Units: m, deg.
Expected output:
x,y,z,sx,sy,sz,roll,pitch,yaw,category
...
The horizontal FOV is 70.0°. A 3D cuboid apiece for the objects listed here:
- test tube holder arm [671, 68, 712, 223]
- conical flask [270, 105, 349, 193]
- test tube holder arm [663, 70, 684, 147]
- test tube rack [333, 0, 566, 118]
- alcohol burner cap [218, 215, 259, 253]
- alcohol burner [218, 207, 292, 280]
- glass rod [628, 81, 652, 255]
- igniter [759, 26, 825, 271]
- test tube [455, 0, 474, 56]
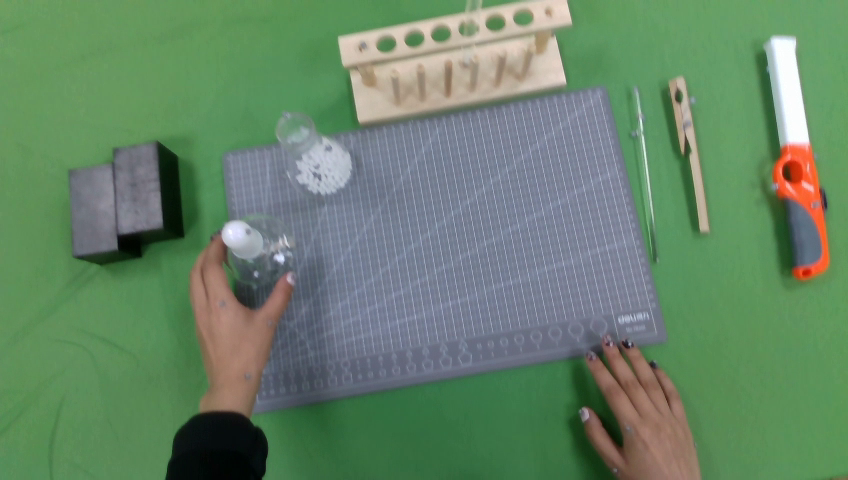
x,y,z,sx,sy,sz,roll,pitch,yaw,category
0.294,-0.105,0.670,0.013,0.015,0.177,-17,77,36,test tube holder arm
-0.125,-0.099,0.634,0.075,0.122,0.075,0,79,3,conical flask
0.283,-0.148,0.681,0.010,0.015,0.087,-15,77,37,test tube holder arm
0.030,-0.204,0.668,0.242,0.085,0.066,-11,79,1,test tube rack
-0.182,-0.008,0.587,0.034,0.048,0.033,0,75,0,alcohol burner cap
-0.179,0.000,0.623,0.078,0.119,0.077,-1,79,5,alcohol burner
0.240,-0.082,0.674,0.008,0.008,0.199,-4,82,2,glass rod
0.401,-0.103,0.661,0.057,0.025,0.275,0,80,-8,igniter
0.043,-0.235,0.623,0.017,0.151,0.017,0,76,0,test tube
